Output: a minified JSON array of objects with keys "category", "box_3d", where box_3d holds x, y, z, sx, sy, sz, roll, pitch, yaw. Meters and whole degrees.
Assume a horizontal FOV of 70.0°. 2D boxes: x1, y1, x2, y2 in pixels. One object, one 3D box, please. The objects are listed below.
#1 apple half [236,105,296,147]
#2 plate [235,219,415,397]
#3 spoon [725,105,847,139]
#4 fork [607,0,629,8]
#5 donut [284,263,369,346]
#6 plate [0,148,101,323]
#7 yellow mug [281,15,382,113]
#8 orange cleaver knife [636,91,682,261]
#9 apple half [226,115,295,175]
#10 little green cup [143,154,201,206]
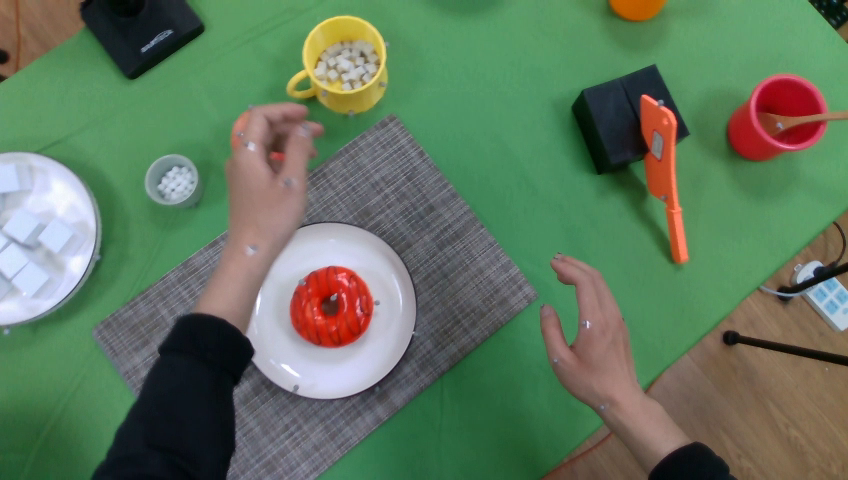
[{"category":"apple half","box_3d":[-0.185,-0.142,0.737,0.081,0.081,0.033,25,85,2]},{"category":"plate","box_3d":[-0.115,0.079,0.718,0.209,0.038,0.208,0,81,-2]},{"category":"spoon","box_3d":[0.470,-0.150,0.732,0.192,0.022,0.041,-1,71,42]},{"category":"fork","box_3d":[0.318,-0.366,0.757,0.207,0.019,0.028,-35,78,36]},{"category":"donut","box_3d":[-0.113,0.075,0.708,0.099,0.048,0.098,0,82,-2]},{"category":"plate","box_3d":[-0.486,-0.005,0.719,0.208,0.039,0.207,0,81,-2]},{"category":"yellow mug","box_3d":[-0.117,-0.212,0.755,0.131,0.064,0.099,-27,83,-6]},{"category":"orange cleaver knife","box_3d":[0.286,-0.075,0.740,0.012,0.076,0.213,-18,114,-4]},{"category":"apple half","box_3d":[-0.202,-0.107,0.731,0.081,0.074,0.053,26,85,-2]},{"category":"little green cup","box_3d":[-0.304,-0.070,0.738,0.061,0.039,0.061,0,80,-2]}]
